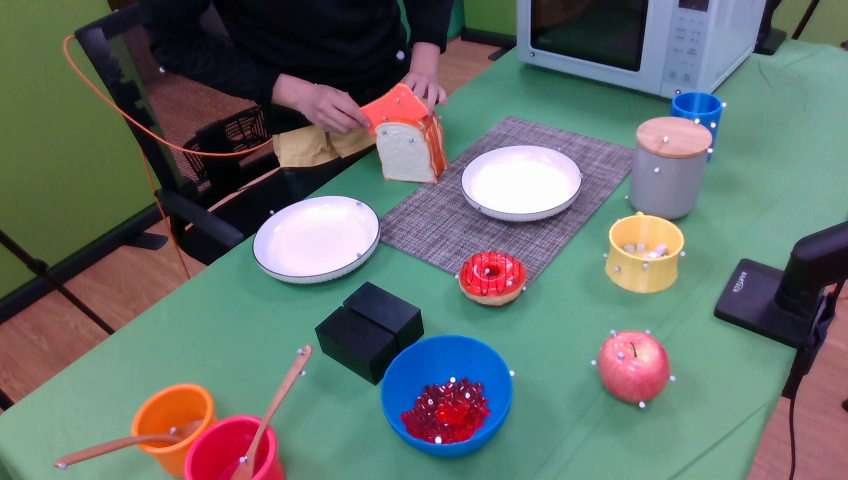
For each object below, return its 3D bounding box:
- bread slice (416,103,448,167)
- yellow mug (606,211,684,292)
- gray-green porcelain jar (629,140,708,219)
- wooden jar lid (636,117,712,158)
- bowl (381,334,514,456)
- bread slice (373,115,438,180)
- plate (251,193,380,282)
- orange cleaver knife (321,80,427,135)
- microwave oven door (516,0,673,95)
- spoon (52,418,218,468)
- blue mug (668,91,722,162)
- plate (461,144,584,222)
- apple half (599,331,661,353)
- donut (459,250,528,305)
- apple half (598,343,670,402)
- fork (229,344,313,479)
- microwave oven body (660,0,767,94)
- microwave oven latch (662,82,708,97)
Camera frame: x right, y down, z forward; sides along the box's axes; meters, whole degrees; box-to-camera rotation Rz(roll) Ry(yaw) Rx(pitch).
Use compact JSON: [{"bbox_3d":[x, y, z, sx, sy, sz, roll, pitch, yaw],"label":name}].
[{"bbox_3d":[-0.010,-0.194,1.115,0.104,0.132,0.019,7,43,19],"label":"bread slice"},{"bbox_3d":[0.318,0.008,0.883,0.100,0.064,0.130,0,40,9],"label":"yellow mug"},{"bbox_3d":[0.383,-0.105,0.958,0.106,0.127,0.105,-4,41,4],"label":"gray-green porcelain jar"},{"bbox_3d":[0.377,-0.151,0.917,0.108,0.021,0.108,-2,42,3],"label":"wooden jar lid"},{"bbox_3d":[0.029,0.192,0.701,0.151,0.077,0.150,-4,40,4],"label":"bowl"},{"bbox_3d":[-0.037,-0.163,1.081,0.106,0.135,0.018,3,47,20],"label":"bread slice"},{"bbox_3d":[-0.173,-0.001,0.984,0.209,0.038,0.208,-4,40,3],"label":"plate"},{"bbox_3d":[-0.090,-0.219,1.062,0.210,0.077,0.012,-12,33,34],"label":"orange cleaver knife"},{"bbox_3d":[0.344,-0.458,1.256,0.353,0.245,0.039,26,51,33],"label":"microwave oven door"},{"bbox_3d":[-0.308,0.220,0.663,0.041,0.195,0.021,21,93,29],"label":"spoon"},{"bbox_3d":[0.474,-0.207,1.079,0.082,0.106,0.116,4,42,13],"label":"blue mug"},{"bbox_3d":[0.167,-0.095,1.040,0.207,0.039,0.206,-4,40,4],"label":"plate"},{"bbox_3d":[0.249,0.134,0.738,0.081,0.081,0.032,-1,46,7],"label":"apple half"},{"bbox_3d":[0.100,0.053,0.872,0.099,0.048,0.098,-4,40,4],"label":"donut"},{"bbox_3d":[0.247,0.161,0.710,0.081,0.075,0.053,2,46,5],"label":"apple half"},{"bbox_3d":[-0.173,0.205,0.662,0.028,0.019,0.207,29,94,36],"label":"fork"},{"bbox_3d":[0.473,-0.516,1.313,0.438,0.261,0.327,26,51,34],"label":"microwave oven body"},{"bbox_3d":[0.518,-0.298,1.203,0.078,0.029,0.030,28,53,35],"label":"microwave oven latch"}]
